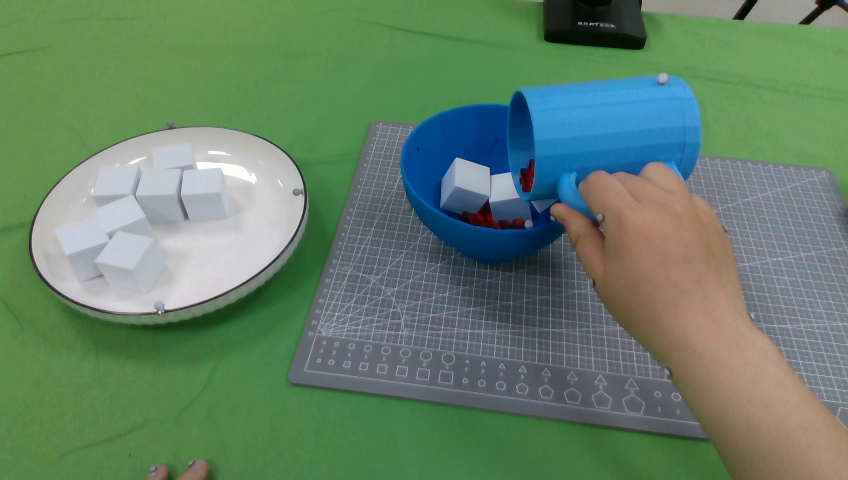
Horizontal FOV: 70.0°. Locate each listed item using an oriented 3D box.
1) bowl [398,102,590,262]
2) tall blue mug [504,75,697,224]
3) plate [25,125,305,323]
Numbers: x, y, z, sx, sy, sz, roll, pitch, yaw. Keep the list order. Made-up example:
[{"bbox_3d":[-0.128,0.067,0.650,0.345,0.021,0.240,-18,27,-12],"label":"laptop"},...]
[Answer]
[{"bbox_3d":[0.053,-0.035,0.488,0.151,0.077,0.150,2,48,-1],"label":"bowl"},{"bbox_3d":[0.118,-0.063,0.401,0.108,0.078,0.106,-6,22,-5],"label":"tall blue mug"},{"bbox_3d":[-0.200,-0.015,0.489,0.209,0.038,0.207,2,48,-2],"label":"plate"}]
